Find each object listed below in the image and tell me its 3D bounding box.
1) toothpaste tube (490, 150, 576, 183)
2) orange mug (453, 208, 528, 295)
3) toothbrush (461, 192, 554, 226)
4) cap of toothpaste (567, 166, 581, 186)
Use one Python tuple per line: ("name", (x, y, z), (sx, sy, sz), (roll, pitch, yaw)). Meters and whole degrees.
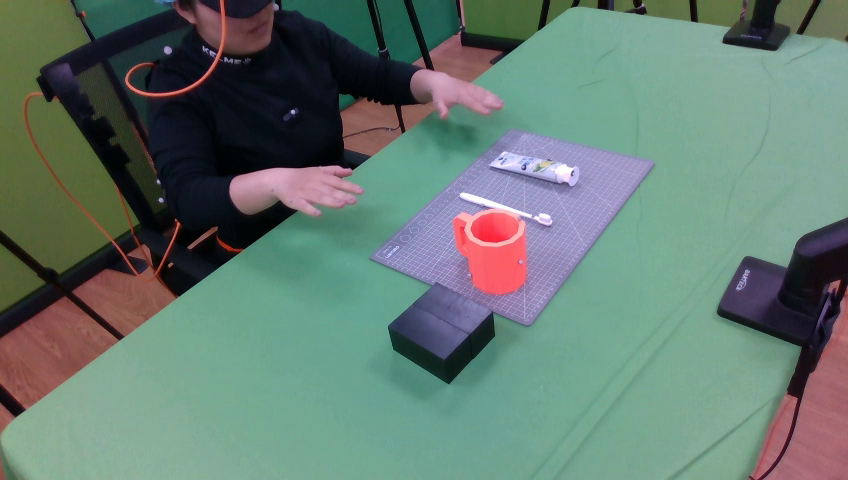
("toothpaste tube", (0.202, -0.135, 1.098), (0.164, 0.034, 0.055), (21, 45, 34))
("orange mug", (0.094, 0.009, 0.894), (0.125, 0.101, 0.084), (32, 55, 33))
("toothbrush", (0.137, -0.056, 1.026), (0.180, 0.017, 0.014), (20, 62, 32))
("cap of toothpaste", (0.260, -0.112, 1.052), (0.011, 0.037, 0.037), (22, 50, 37))
